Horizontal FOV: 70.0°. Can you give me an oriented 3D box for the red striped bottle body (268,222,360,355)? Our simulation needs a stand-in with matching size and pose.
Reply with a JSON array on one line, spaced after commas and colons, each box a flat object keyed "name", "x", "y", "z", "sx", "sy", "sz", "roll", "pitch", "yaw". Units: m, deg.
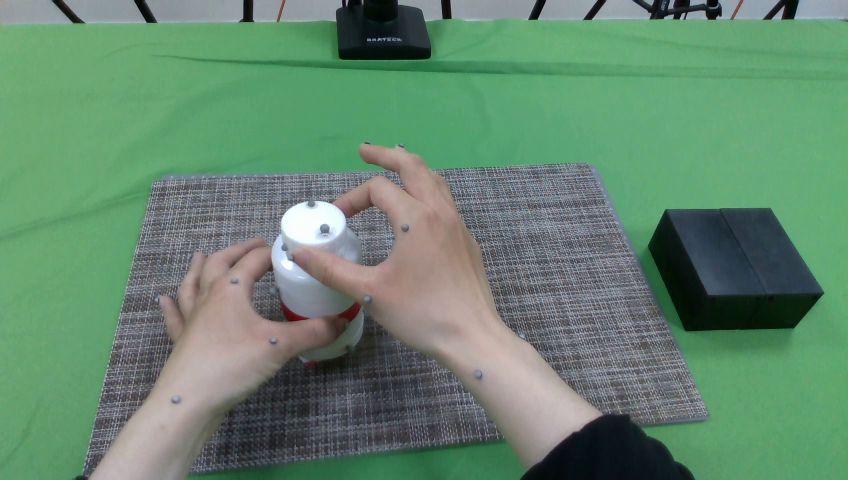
[{"name": "red striped bottle body", "x": -0.080, "y": 0.028, "z": 0.449, "sx": 0.063, "sy": 0.120, "sz": 0.062, "roll": 2, "pitch": 47, "yaw": -2}]

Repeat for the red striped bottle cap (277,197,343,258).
[{"name": "red striped bottle cap", "x": -0.077, "y": -0.009, "z": 0.408, "sx": 0.044, "sy": 0.018, "sz": 0.044, "roll": 6, "pitch": 44, "yaw": -6}]
